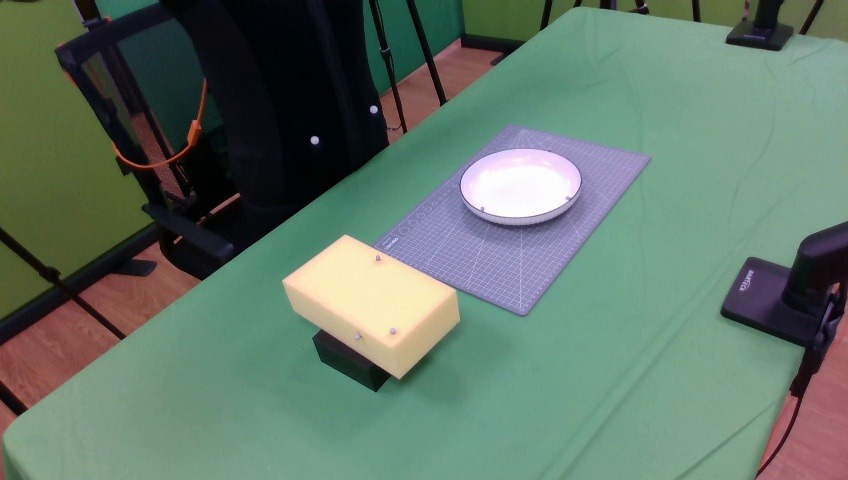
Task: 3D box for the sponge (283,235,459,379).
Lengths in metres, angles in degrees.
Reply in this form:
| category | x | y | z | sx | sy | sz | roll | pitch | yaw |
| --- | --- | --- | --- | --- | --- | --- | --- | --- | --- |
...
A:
| category | x | y | z | sx | sy | sz | roll | pitch | yaw |
| --- | --- | --- | --- | --- | --- | --- | --- | --- | --- |
| sponge | -0.072 | 0.081 | 0.798 | 0.205 | 0.061 | 0.118 | 25 | 51 | 34 |

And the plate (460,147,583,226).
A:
| category | x | y | z | sx | sy | sz | roll | pitch | yaw |
| --- | --- | --- | --- | --- | --- | --- | --- | --- | --- |
| plate | 0.166 | -0.089 | 1.043 | 0.209 | 0.038 | 0.208 | -5 | 40 | 5 |
